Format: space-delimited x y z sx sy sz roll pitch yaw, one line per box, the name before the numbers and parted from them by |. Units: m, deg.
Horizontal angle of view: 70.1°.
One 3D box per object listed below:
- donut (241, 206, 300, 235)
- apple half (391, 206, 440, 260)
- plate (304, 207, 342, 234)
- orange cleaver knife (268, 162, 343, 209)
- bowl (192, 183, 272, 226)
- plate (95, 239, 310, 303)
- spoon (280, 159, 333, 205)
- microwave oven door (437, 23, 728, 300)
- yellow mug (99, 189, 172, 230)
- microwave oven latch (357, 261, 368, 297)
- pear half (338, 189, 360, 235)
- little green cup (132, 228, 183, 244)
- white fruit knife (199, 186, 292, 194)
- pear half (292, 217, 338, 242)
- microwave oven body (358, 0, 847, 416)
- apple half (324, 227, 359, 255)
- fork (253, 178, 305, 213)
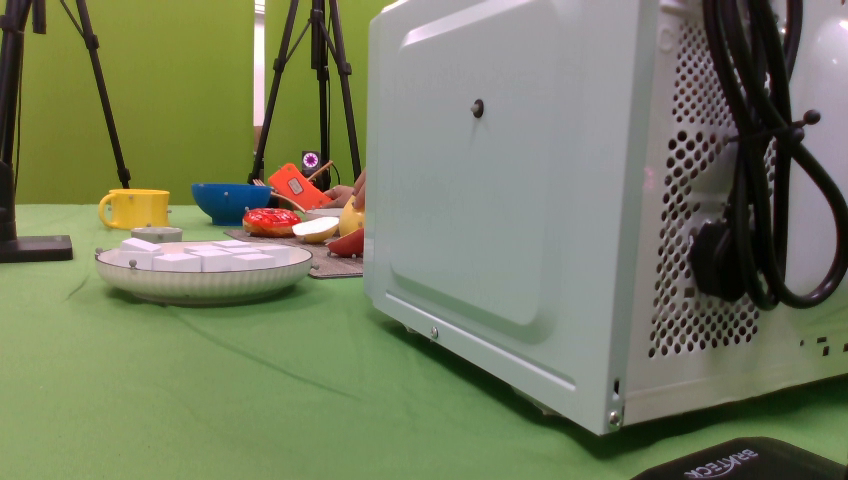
donut | -0.263 -0.032 1.039 0.099 0.048 0.099 4 10 0
apple half | -0.006 -0.009 0.837 0.053 0.074 0.081 10 5 23
plate | -0.123 -0.037 1.149 0.209 0.038 0.209 2 7 0
orange cleaver knife | -0.251 -0.094 1.358 0.211 0.077 0.012 35 2 -3
bowl | -0.381 -0.071 1.202 0.151 0.077 0.151 3 7 0
plate | -0.224 0.031 0.629 0.208 0.039 0.207 2 8 0
spoon | -0.316 -0.159 1.639 0.194 0.022 0.041 -49 32 -20
microwave oven door | 0.180 -0.072 0.621 0.358 0.243 0.039 -2 9 -29
yellow mug | -0.519 -0.055 1.081 0.099 0.064 0.131 7 10 26
microwave oven latch | -0.019 0.033 0.530 0.079 0.029 0.030 -1 7 -26
pear half | -0.088 -0.042 0.922 0.055 0.110 0.077 8 12 36
little green cup | -0.342 0.006 0.779 0.061 0.038 0.061 2 8 0
white fruit knife | -0.399 -0.111 1.368 0.208 0.016 0.027 -4 -20 -29
pear half | -0.175 -0.014 0.977 0.087 0.031 0.071 -3 15 36
microwave oven body | 0.211 -0.047 0.474 0.444 0.260 0.324 -1 7 -28
apple half | -0.095 0.002 0.848 0.081 0.033 0.081 -21 -1 0
fork | -0.294 -0.084 1.293 0.206 0.018 0.028 29 11 26
